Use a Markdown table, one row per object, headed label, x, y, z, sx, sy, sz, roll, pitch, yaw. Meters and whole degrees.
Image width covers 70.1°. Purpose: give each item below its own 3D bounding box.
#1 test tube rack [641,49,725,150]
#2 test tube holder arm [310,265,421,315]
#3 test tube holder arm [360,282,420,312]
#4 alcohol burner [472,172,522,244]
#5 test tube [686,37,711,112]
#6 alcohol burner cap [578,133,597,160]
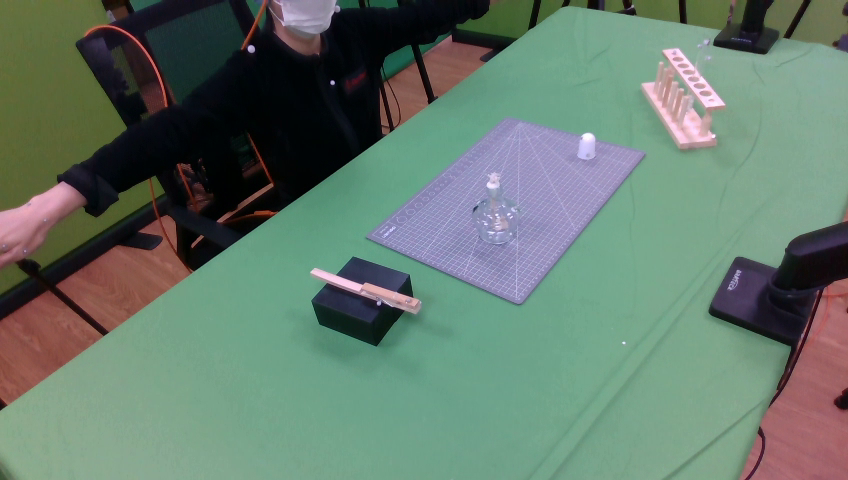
| label | x | y | z | sx | sy | sz | roll | pitch | yaw |
| --- | --- | --- | --- | --- | --- | --- | --- | --- | --- |
| test tube rack | 0.495 | -0.279 | 1.175 | 0.067 | 0.085 | 0.241 | -5 | 41 | 3 |
| test tube holder arm | -0.084 | 0.067 | 0.833 | 0.177 | 0.013 | 0.015 | 17 | 47 | 25 |
| test tube holder arm | -0.046 | 0.075 | 0.810 | 0.087 | 0.010 | 0.015 | 17 | 47 | 25 |
| alcohol burner | 0.112 | -0.053 | 0.942 | 0.078 | 0.119 | 0.077 | -6 | 40 | 5 |
| test tube | 0.509 | -0.306 | 1.128 | 0.017 | 0.151 | 0.017 | -3 | 45 | 3 |
| alcohol burner cap | 0.301 | -0.174 | 1.111 | 0.034 | 0.048 | 0.033 | -5 | 41 | 4 |
